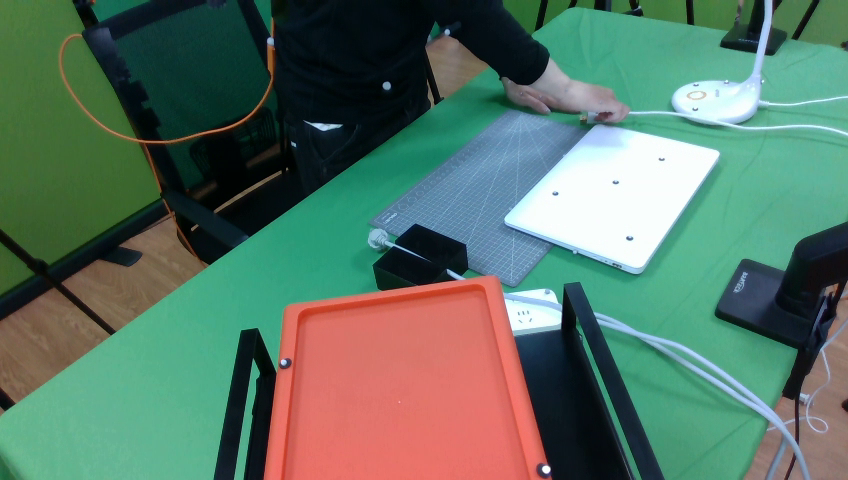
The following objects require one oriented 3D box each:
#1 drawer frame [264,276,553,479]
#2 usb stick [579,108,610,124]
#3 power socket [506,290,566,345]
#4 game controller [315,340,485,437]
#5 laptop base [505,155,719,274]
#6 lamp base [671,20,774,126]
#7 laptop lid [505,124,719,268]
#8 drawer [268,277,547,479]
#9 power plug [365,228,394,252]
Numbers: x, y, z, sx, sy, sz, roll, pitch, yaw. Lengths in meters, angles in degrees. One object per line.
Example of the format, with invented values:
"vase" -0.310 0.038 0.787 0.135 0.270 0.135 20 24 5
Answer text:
"drawer frame" -0.016 0.137 0.490 0.202 0.083 0.212 -8 41 -2
"usb stick" 0.341 -0.248 1.208 0.059 0.027 0.021 -3 60 10
"power socket" 0.081 0.112 0.822 0.227 0.033 0.072 -7 41 0
"game controller" -0.021 0.120 0.533 0.155 0.052 0.096 -3 38 0
"laptop base" 0.326 -0.083 1.028 0.233 0.023 0.355 21 48 32
"lamp base" 0.581 -0.332 1.154 0.179 0.181 0.160 2 42 7
"laptop lid" 0.323 -0.093 1.021 0.240 0.013 0.358 23 49 32
"drawer" -0.018 0.137 0.493 0.195 0.073 0.210 -7 41 -1
"power plug" -0.068 0.009 0.954 0.035 0.053 0.072 -37 51 0
